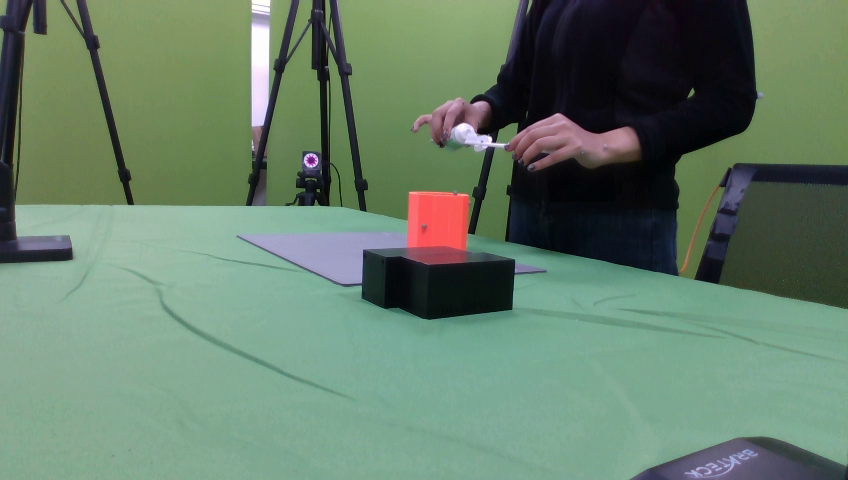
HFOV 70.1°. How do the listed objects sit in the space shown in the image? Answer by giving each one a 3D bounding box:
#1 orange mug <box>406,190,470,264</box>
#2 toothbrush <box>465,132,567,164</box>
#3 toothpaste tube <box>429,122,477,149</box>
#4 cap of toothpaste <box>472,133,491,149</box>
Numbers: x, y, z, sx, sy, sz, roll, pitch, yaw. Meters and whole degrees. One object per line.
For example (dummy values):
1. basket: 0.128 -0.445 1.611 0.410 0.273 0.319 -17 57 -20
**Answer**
1. orange mug: 0.027 -0.023 0.866 0.083 0.101 0.126 6 12 24
2. toothbrush: 0.140 -0.145 0.950 0.181 0.014 0.017 21 24 32
3. toothpaste tube: 0.057 -0.183 1.080 0.055 0.034 0.164 24 -4 -15
4. cap of toothpaste: 0.094 -0.165 1.000 0.037 0.011 0.037 -26 34 20
